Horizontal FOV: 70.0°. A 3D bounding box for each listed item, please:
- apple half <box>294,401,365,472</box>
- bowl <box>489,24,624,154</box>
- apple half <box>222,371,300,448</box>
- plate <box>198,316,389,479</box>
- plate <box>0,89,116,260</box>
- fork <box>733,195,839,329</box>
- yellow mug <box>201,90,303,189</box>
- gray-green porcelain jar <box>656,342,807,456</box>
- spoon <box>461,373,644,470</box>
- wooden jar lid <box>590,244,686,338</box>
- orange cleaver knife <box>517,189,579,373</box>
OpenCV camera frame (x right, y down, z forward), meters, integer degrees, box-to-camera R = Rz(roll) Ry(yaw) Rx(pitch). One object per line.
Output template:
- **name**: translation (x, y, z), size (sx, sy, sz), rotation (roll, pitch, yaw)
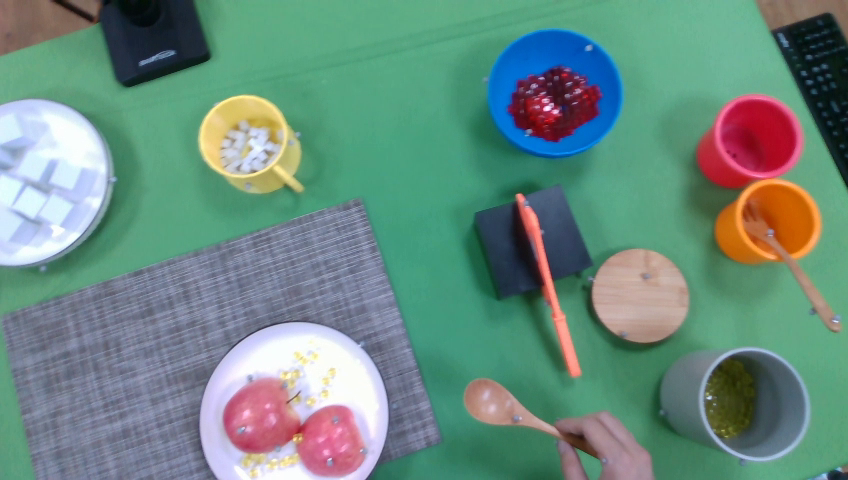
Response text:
- **apple half**: translation (-0.107, 0.218, 0.661), size (0.081, 0.033, 0.081), rotation (0, 77, 2)
- **bowl**: translation (0.148, -0.164, 0.710), size (0.151, 0.077, 0.151), rotation (0, 81, 1)
- **apple half**: translation (-0.182, 0.187, 0.659), size (0.074, 0.053, 0.080), rotation (-21, 82, 0)
- **plate**: translation (-0.142, 0.189, 0.673), size (0.209, 0.038, 0.208), rotation (0, 81, 1)
- **plate**: translation (-0.469, -0.077, 0.728), size (0.208, 0.039, 0.207), rotation (0, 81, 1)
- **fork**: translation (0.378, 0.015, 0.640), size (0.028, 0.019, 0.205), rotation (-2, 37, 0)
- **yellow mug**: translation (-0.191, -0.107, 0.713), size (0.130, 0.064, 0.100), rotation (42, 84, 6)
- **gray-green porcelain jar**: translation (0.309, 0.160, 0.629), size (0.106, 0.127, 0.105), rotation (0, 80, 1)
- **spoon**: translation (0.126, 0.184, 0.596), size (0.193, 0.022, 0.041), rotation (23, 69, 7)
- **wooden jar lid**: translation (0.246, 0.059, 0.701), size (0.108, 0.021, 0.108), rotation (0, 81, 3)
- **orange cleaver knife**: translation (0.136, 0.046, 0.674), size (0.012, 0.077, 0.212), rotation (-17, 104, 1)
